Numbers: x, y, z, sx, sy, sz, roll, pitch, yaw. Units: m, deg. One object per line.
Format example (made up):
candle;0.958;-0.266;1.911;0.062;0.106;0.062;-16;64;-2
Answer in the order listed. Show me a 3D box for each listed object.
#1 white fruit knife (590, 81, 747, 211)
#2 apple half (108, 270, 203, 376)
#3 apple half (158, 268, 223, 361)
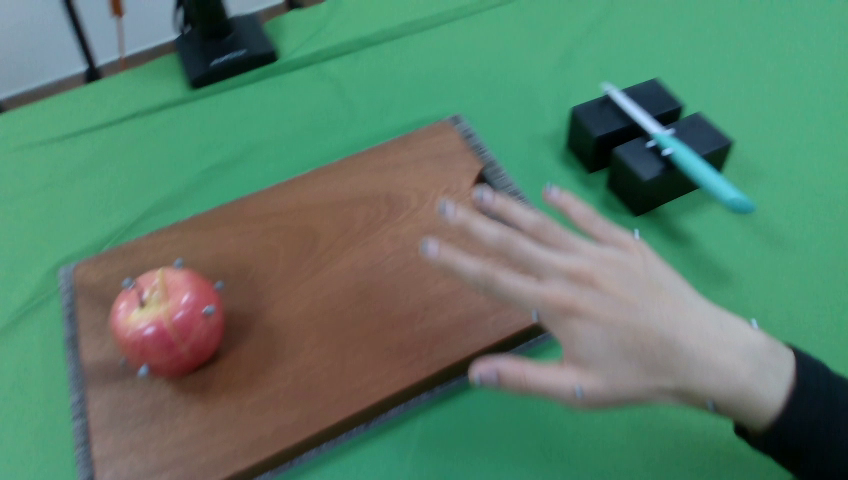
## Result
white fruit knife;0.220;-0.096;0.571;0.027;0.016;0.205;-3;43;-34
apple half;-0.215;0.072;0.479;0.053;0.075;0.080;-25;57;-8
apple half;-0.179;0.056;0.486;0.033;0.082;0.080;-24;53;-9
